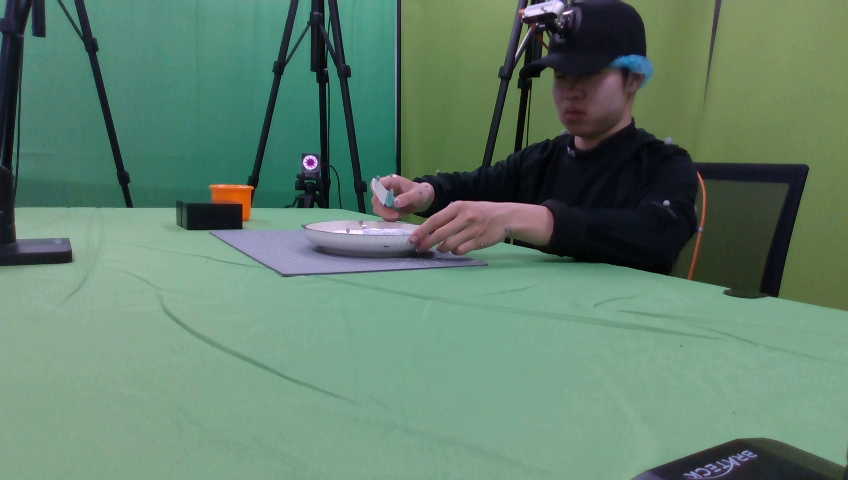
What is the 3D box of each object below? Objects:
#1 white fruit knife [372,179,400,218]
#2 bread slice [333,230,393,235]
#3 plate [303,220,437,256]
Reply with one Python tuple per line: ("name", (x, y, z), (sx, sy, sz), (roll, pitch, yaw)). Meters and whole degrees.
("white fruit knife", (-0.062, -0.069, 0.982), (0.016, 0.027, 0.207), (16, -7, 9))
("bread slice", (-0.088, 0.000, 0.946), (0.105, 0.019, 0.131), (-4, 10, -44))
("plate", (-0.084, -0.003, 0.951), (0.209, 0.038, 0.209), (3, 7, 0))
